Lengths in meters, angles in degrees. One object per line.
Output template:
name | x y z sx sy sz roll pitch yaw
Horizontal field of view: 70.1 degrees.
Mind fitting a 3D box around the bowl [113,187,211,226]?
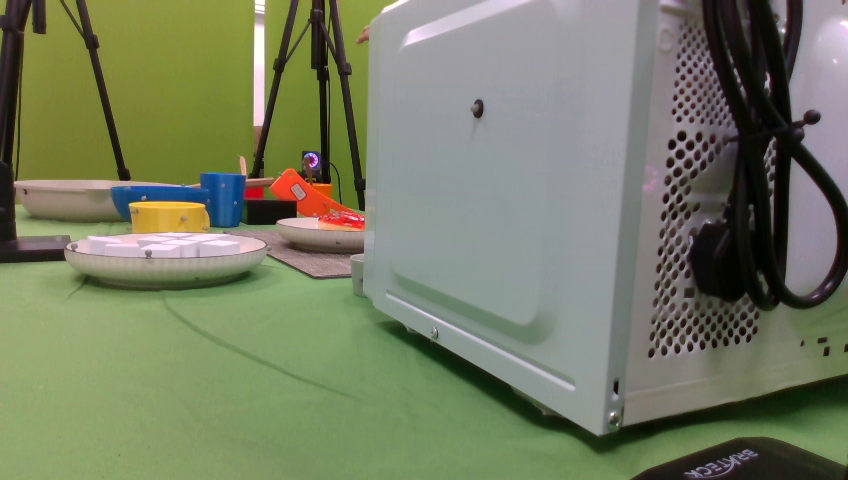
bowl | -0.436 -0.046 1.013 0.151 0.077 0.151 2 7 0

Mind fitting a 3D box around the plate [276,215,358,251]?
plate | -0.126 -0.012 0.950 0.209 0.038 0.209 2 7 0

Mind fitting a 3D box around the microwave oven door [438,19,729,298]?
microwave oven door | 0.181 -0.076 0.618 0.358 0.243 0.039 -2 8 -28

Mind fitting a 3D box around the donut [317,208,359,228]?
donut | -0.118 -0.024 0.954 0.099 0.048 0.099 6 7 0

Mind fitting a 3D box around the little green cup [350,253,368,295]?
little green cup | -0.047 0.035 0.632 0.061 0.038 0.061 4 6 0

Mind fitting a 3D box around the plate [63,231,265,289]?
plate | -0.288 0.021 0.687 0.208 0.039 0.207 2 8 0

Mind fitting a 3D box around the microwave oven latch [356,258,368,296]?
microwave oven latch | -0.019 0.031 0.528 0.079 0.029 0.030 -1 7 -24

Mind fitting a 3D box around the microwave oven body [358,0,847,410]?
microwave oven body | 0.210 -0.051 0.471 0.444 0.260 0.324 -1 7 -28

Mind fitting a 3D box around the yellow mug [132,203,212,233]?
yellow mug | -0.356 -0.020 0.878 0.099 0.064 0.131 4 7 22

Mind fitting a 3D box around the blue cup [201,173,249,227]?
blue cup | -0.384 -0.077 1.164 0.093 0.100 0.092 2 5 0

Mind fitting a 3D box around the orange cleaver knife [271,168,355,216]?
orange cleaver knife | -0.236 -0.084 1.332 0.212 0.077 0.012 31 -11 -32

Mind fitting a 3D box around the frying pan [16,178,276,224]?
frying pan | -0.554 -0.097 1.266 0.490 0.102 0.305 -10 13 -24

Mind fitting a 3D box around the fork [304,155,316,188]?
fork | -0.266 -0.132 1.445 0.028 0.018 0.207 7 -37 5

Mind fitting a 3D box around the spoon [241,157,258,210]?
spoon | -0.431 -0.140 1.472 0.042 0.021 0.193 0 51 -21
